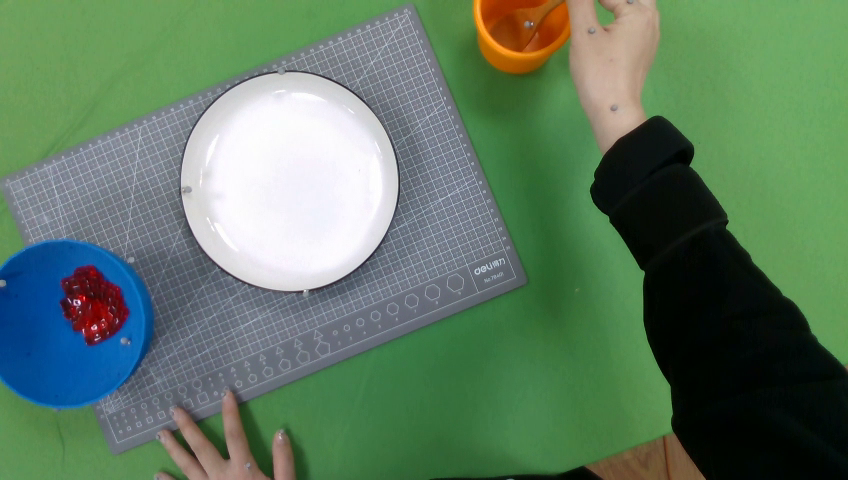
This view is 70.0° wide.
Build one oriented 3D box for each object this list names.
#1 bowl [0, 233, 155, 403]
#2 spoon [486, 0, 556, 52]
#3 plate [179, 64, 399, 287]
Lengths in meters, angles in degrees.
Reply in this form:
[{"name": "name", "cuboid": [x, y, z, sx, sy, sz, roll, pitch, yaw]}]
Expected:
[{"name": "bowl", "cuboid": [-0.317, 0.068, 0.568, 0.151, 0.077, 0.151, 0, 91, 1]}, {"name": "spoon", "cuboid": [0.114, -0.206, 0.508, 0.022, 0.193, 0.041, -9, 89, -28]}, {"name": "plate", "cuboid": [-0.126, -0.060, 0.582, 0.209, 0.038, 0.209, 0, 91, 1]}]
